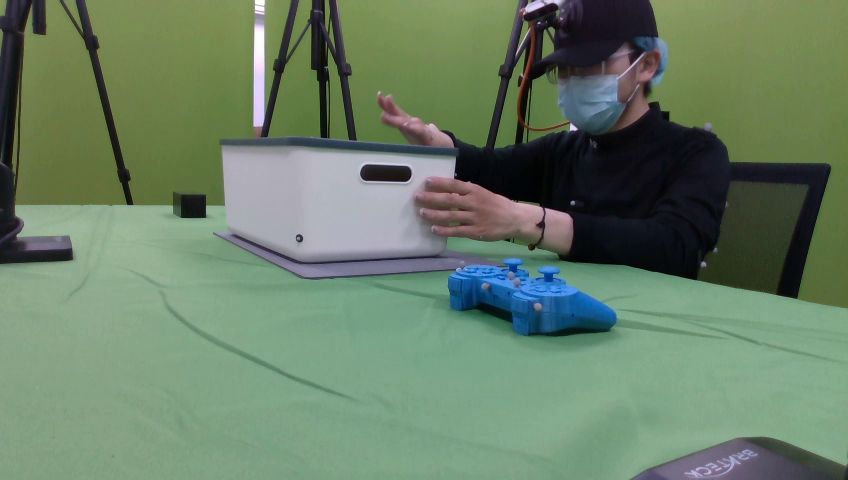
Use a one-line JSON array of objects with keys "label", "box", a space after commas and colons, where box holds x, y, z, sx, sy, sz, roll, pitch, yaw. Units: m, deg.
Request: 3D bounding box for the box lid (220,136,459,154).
[{"label": "box lid", "box": [-0.145, -0.145, 0.944, 0.265, 0.015, 0.369, -2, 9, -33]}]

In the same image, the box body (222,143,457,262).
[{"label": "box body", "box": [-0.148, -0.073, 0.956, 0.255, 0.160, 0.362, -3, 9, -33]}]

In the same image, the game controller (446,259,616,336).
[{"label": "game controller", "box": [0.091, 0.048, 0.562, 0.097, 0.051, 0.154, -7, 10, -32]}]
